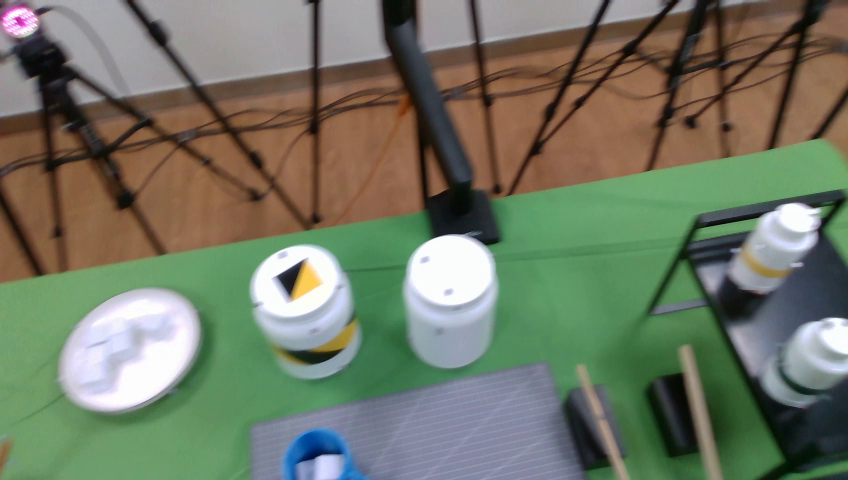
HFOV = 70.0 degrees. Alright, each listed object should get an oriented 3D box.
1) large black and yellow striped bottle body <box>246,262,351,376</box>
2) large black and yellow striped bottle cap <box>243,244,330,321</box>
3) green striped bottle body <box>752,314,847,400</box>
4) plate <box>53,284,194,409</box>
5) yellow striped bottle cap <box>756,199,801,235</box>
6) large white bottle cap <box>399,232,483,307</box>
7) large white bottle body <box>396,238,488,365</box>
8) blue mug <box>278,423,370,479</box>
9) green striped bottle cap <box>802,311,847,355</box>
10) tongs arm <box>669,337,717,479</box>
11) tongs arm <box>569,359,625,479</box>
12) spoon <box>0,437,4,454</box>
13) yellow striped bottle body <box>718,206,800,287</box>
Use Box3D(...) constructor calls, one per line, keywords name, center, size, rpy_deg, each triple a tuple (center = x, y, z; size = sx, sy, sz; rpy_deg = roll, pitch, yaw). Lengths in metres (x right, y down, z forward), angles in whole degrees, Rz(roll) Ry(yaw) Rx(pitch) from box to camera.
Box3D(name="large black and yellow striped bottle body", center=(-0.182, 0.105, 0.886), size=(0.131, 0.185, 0.129), rpy_deg=(-1, 54, 1))
Box3D(name="large black and yellow striped bottle cap", center=(-0.185, 0.055, 0.818), size=(0.115, 0.019, 0.114), rpy_deg=(0, 55, 0))
Box3D(name="green striped bottle body", center=(0.419, 0.126, 0.671), size=(0.063, 0.120, 0.062), rpy_deg=(-1, 54, 2))
Box3D(name="plate", center=(-0.460, 0.166, 0.941), size=(0.208, 0.039, 0.205), rpy_deg=(-1, 55, 1))
Box3D(name="yellow striped bottle cap", center=(0.419, -0.028, 0.715), size=(0.044, 0.019, 0.044), rpy_deg=(1, 53, -1))
Box3D(name="large white bottle cap", center=(0.023, 0.039, 0.822), size=(0.115, 0.018, 0.113), rpy_deg=(0, 54, 1))
Box3D(name="large white bottle body", center=(0.026, 0.089, 0.891), size=(0.130, 0.186, 0.129), rpy_deg=(-1, 55, 1))
Box3D(name="blue mug", center=(-0.123, 0.301, 0.790), size=(0.116, 0.107, 0.082), rpy_deg=(14, 56, 11))
Box3D(name="green striped bottle cap", center=(0.419, 0.096, 0.628), size=(0.044, 0.020, 0.044), rpy_deg=(-2, 56, 3))
Box3D(name="tongs arm", center=(0.359, 0.314, 0.773), size=(0.028, 0.028, 0.384), rpy_deg=(0, 66, -8))
Box3D(name="tongs arm", center=(0.278, 0.328, 0.763), size=(0.051, 0.027, 0.381), rpy_deg=(-14, 67, -11))
Box3D(name="spoon", center=(-0.558, 0.332, 0.760), size=(0.041, 0.022, 0.194), rpy_deg=(27, 103, 22))
Box3D(name="yellow striped bottle body", center=(0.421, 0.002, 0.758), size=(0.063, 0.121, 0.062), rpy_deg=(-1, 54, 1))
